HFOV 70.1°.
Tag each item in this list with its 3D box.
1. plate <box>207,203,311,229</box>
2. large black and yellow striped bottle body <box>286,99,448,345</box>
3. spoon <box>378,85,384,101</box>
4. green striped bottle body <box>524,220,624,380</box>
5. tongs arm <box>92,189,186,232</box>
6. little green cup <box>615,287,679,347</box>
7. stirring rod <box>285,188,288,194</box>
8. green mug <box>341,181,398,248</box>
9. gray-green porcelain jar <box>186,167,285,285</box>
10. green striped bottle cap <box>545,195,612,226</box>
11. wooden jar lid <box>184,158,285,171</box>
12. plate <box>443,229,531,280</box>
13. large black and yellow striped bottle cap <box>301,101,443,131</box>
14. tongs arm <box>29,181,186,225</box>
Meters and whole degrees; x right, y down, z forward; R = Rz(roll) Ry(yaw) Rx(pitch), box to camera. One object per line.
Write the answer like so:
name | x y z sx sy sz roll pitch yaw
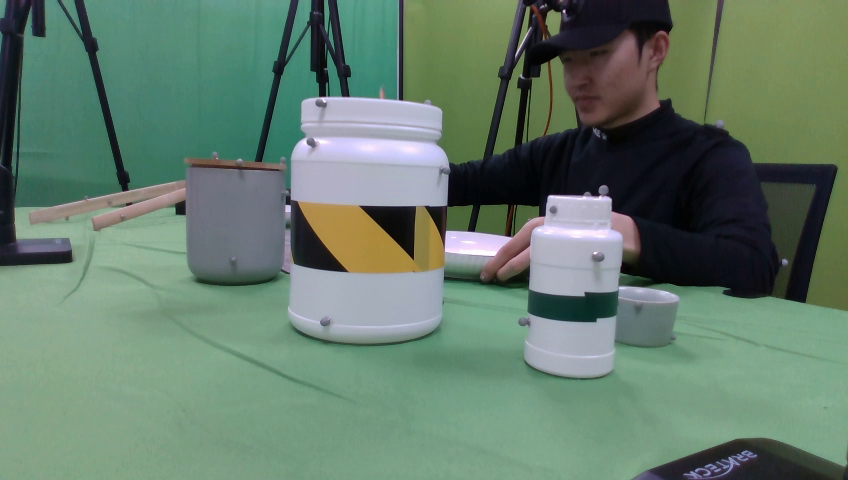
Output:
plate | -0.342 -0.050 1.259 0.208 0.039 0.207 3 7 0
large black and yellow striped bottle body | -0.047 -0.018 0.501 0.131 0.184 0.130 2 7 0
spoon | -0.075 -0.190 1.008 0.021 0.193 0.041 3 -36 2
green striped bottle body | 0.104 0.031 0.422 0.063 0.119 0.063 2 8 0
tongs arm | -0.534 -0.076 1.222 0.028 0.028 0.388 -2 15 12
little green cup | 0.180 0.064 0.506 0.061 0.038 0.061 1 8 0
stirring rod | -0.353 -0.122 1.519 0.006 0.014 0.176 1 6 1
green mug | -0.089 -0.044 0.996 0.093 0.105 0.125 1 7 -8
gray-green porcelain jar | -0.212 -0.017 0.682 0.106 0.126 0.106 2 7 0
green striped bottle cap | 0.106 -0.020 0.414 0.044 0.020 0.044 2 4 0
wooden jar lid | -0.210 -0.078 0.674 0.108 0.020 0.108 5 6 0
plate | 0.056 0.019 0.814 0.209 0.038 0.209 3 9 0
large black and yellow striped bottle cap | -0.042 -0.100 0.491 0.115 0.019 0.115 1 8 0
tongs arm | -0.609 -0.083 1.245 0.050 0.026 0.386 5 16 23
